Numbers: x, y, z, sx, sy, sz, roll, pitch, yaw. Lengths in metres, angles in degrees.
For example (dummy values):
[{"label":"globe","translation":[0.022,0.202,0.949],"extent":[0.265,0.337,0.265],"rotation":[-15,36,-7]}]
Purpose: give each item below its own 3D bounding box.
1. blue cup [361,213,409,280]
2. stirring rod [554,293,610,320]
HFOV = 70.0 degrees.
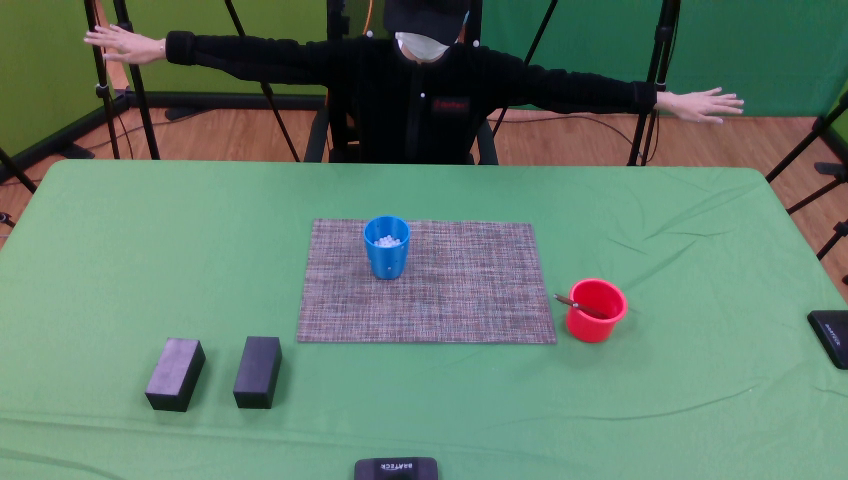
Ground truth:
[{"label":"blue cup","translation":[-0.070,0.020,1.114],"extent":[0.093,0.101,0.092],"rotation":[1,46,-1]},{"label":"stirring rod","translation":[0.271,0.115,1.030],"extent":[0.177,0.006,0.014],"rotation":[22,26,-43]}]
